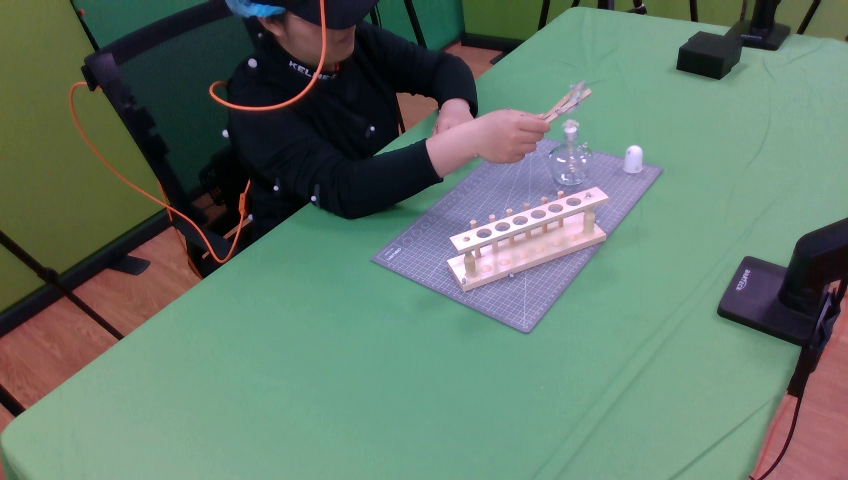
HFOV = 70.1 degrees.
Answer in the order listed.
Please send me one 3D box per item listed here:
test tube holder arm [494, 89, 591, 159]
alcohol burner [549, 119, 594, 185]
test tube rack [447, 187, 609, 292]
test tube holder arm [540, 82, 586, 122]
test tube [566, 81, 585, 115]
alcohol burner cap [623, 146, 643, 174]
[{"bbox_3d":[0.187,-0.183,0.963,0.178,0.015,0.013,-36,81,13],"label":"test tube holder arm"},{"bbox_3d":[0.254,-0.155,1.043,0.078,0.120,0.077,-7,40,6],"label":"alcohol burner"},{"bbox_3d":[0.155,-0.011,0.913,0.243,0.085,0.066,-19,41,-11],"label":"test tube rack"},{"bbox_3d":[0.219,-0.215,0.955,0.087,0.015,0.010,-43,80,12],"label":"test tube holder arm"},{"bbox_3d":[0.241,-0.225,0.968,0.017,0.017,0.150,-4,-3,8],"label":"test tube"},{"bbox_3d":[0.369,-0.142,1.062,0.034,0.048,0.033,-7,40,6],"label":"alcohol burner cap"}]
